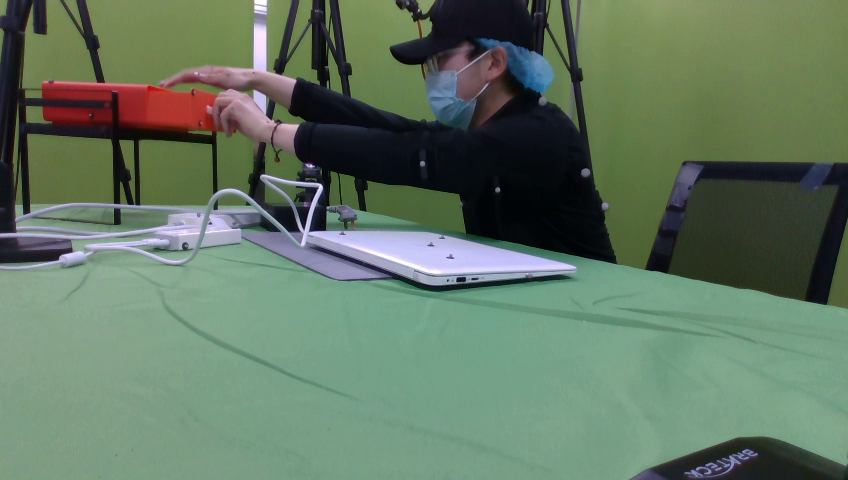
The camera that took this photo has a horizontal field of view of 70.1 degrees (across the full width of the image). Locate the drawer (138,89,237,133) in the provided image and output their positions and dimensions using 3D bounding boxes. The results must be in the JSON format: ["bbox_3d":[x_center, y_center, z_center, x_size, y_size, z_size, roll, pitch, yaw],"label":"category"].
[{"bbox_3d":[-0.512,-0.257,1.213,0.212,0.073,0.194,2,8,7],"label":"drawer"}]

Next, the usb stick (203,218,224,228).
[{"bbox_3d":[-0.346,-0.019,1.008,0.027,0.021,0.059,43,-7,1],"label":"usb stick"}]

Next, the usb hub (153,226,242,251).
[{"bbox_3d":[-0.337,-0.003,0.907,0.049,0.025,0.125,6,9,28],"label":"usb hub"}]

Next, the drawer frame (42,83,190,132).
[{"bbox_3d":[-0.600,-0.264,1.220,0.213,0.082,0.201,2,8,4],"label":"drawer frame"}]

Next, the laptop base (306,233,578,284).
[{"bbox_3d":[0.007,0.021,0.850,0.237,0.023,0.352,1,7,-34],"label":"laptop base"}]

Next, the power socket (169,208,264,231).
[{"bbox_3d":[-0.381,-0.038,1.128,0.072,0.032,0.227,4,8,16],"label":"power socket"}]

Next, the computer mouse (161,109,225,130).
[{"bbox_3d":[-0.468,-0.244,1.226,0.062,0.041,0.118,12,17,40],"label":"computer mouse"}]

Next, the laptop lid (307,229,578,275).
[{"bbox_3d":[0.009,0.010,0.850,0.243,0.013,0.355,0,8,-32],"label":"laptop lid"}]

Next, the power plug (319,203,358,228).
[{"bbox_3d":[-0.168,-0.045,1.206,0.072,0.052,0.035,-10,-11,-1],"label":"power plug"}]
